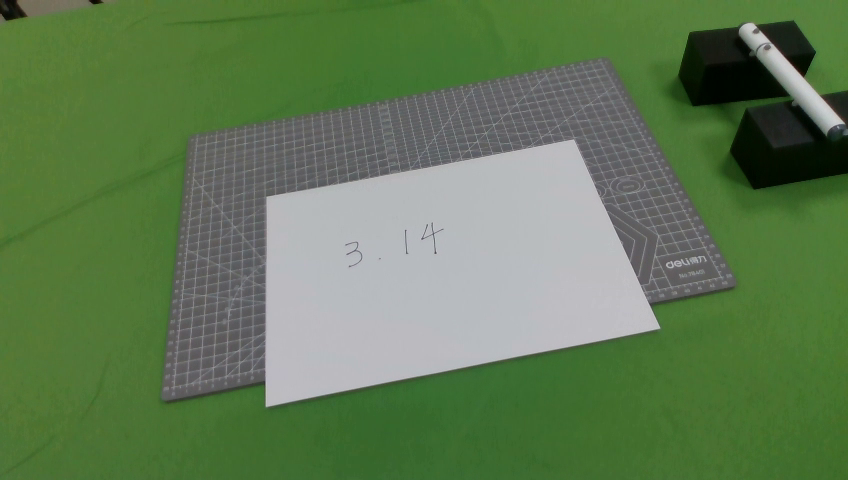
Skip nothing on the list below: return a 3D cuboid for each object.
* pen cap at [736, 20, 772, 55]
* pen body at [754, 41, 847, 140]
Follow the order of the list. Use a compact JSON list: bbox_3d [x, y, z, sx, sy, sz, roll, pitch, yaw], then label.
[{"bbox_3d":[0.302,-0.187,0.557,0.017,0.017,0.038,-13,54,-2],"label":"pen cap"},{"bbox_3d":[0.314,-0.138,0.520,0.017,0.017,0.142,-12,53,-1],"label":"pen body"}]
